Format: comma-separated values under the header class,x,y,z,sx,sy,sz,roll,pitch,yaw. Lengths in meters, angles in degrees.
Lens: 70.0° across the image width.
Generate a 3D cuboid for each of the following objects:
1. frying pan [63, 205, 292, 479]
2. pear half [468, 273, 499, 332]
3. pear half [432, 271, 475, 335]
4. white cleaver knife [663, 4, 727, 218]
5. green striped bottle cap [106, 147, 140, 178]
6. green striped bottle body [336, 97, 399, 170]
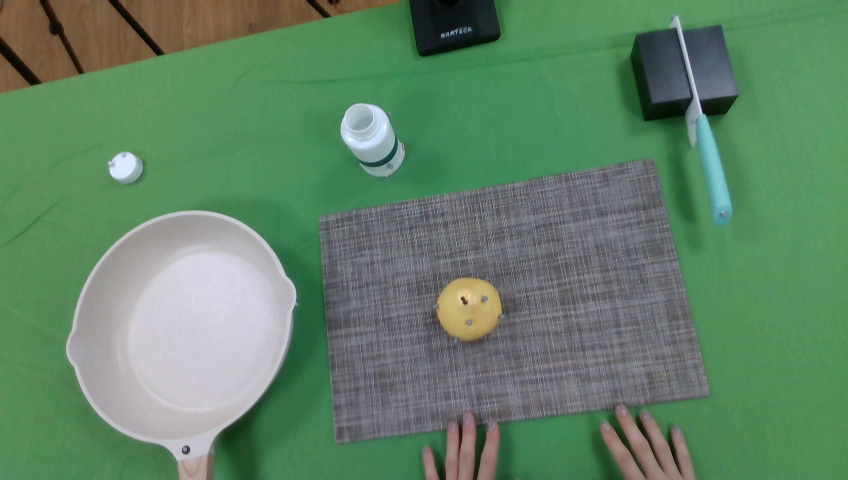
class,x,y,z,sx,sy,sz,roll,pitch,yaw
frying pan,-0.286,0.195,0.741,0.307,0.103,0.483,-14,66,6
pear half,0.073,0.073,0.720,0.031,0.088,0.070,-6,71,9
pear half,0.036,0.071,0.716,0.056,0.110,0.076,-5,70,8
white cleaver knife,0.334,-0.163,0.753,0.021,0.066,0.284,-9,73,14
green striped bottle cap,-0.439,-0.113,0.884,0.044,0.020,0.044,-2,76,9
green striped bottle body,-0.074,-0.140,0.782,0.063,0.120,0.063,-2,75,9
